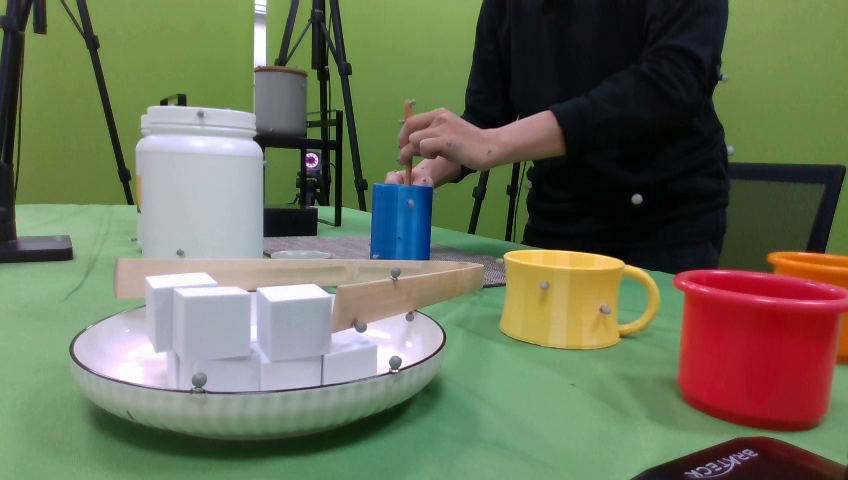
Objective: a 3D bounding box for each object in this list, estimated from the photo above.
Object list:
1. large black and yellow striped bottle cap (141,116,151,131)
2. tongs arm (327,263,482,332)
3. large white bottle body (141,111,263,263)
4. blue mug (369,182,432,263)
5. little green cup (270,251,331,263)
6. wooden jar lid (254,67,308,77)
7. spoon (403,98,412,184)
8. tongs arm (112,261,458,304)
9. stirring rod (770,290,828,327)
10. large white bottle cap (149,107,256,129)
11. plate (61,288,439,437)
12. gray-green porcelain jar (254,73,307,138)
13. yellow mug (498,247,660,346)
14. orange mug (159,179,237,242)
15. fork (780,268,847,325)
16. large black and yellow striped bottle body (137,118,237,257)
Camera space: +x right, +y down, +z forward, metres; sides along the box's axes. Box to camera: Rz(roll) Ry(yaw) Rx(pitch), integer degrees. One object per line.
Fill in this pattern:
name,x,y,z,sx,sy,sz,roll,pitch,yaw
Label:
large black and yellow striped bottle cap,-0.328,-0.158,0.837,0.115,0.019,0.115,2,6,0
tongs arm,-0.003,0.036,0.493,0.050,0.026,0.386,1,0,19
large white bottle body,-0.254,-0.053,0.697,0.131,0.184,0.130,2,7,0
blue mug,-0.027,-0.027,0.837,0.082,0.106,0.117,4,7,17
little green cup,-0.129,0.034,0.629,0.061,0.038,0.061,3,7,0
wooden jar lid,-0.296,-0.339,1.251,0.108,0.020,0.108,2,7,0
spoon,-0.025,-0.098,0.835,0.022,0.193,0.041,2,1,-44
tongs arm,-0.080,0.032,0.527,0.028,0.027,0.389,-3,-3,33
stirring rod,0.349,0.022,0.468,0.014,0.006,0.175,-12,-26,-50
large white bottle cap,-0.250,-0.137,0.686,0.115,0.018,0.115,3,8,0
plate,-0.095,0.069,0.362,0.208,0.039,0.207,3,7,0
gray-green porcelain jar,-0.298,-0.277,1.259,0.106,0.126,0.106,3,8,0
yellow mug,0.130,0.045,0.508,0.131,0.064,0.100,4,7,6
orange mug,-0.368,-0.051,0.991,0.127,0.101,0.083,-10,14,-41
fork,0.324,0.018,0.441,0.028,0.018,0.207,-3,-36,-5
large black and yellow striped bottle body,-0.330,-0.075,0.849,0.131,0.184,0.130,2,8,0
